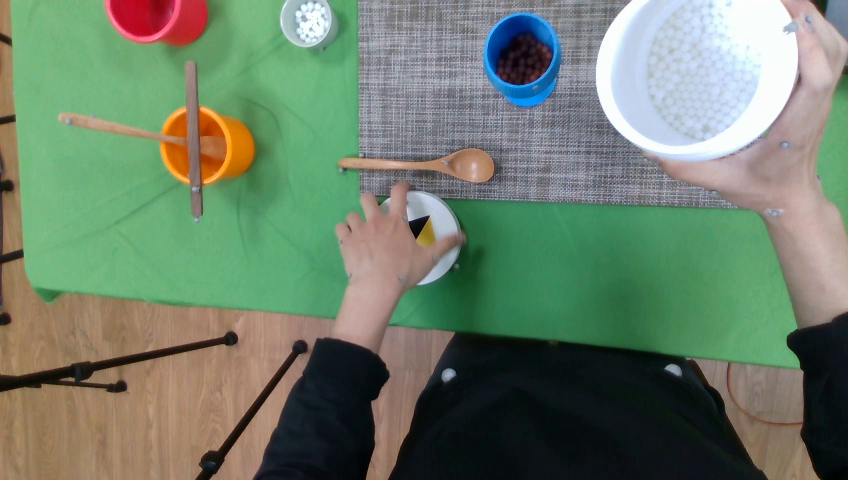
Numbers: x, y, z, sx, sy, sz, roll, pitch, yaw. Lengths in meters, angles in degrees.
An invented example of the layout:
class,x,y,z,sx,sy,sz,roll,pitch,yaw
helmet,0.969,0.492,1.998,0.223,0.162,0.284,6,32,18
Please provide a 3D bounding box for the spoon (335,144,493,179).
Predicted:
class,x,y,z,sx,sy,sz,roll,pitch,yaw
spoon,-0.015,-0.093,0.712,0.193,0.021,0.042,2,120,11

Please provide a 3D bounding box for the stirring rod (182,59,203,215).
class,x,y,z,sx,sy,sz,roll,pitch,yaw
stirring rod,-0.265,-0.116,0.692,0.014,0.006,0.176,2,100,12

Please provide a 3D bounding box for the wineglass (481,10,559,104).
class,x,y,z,sx,sy,sz,roll,pitch,yaw
wineglass,0.097,-0.175,0.600,0.073,0.172,0.074,2,98,11

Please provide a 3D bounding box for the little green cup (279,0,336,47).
class,x,y,z,sx,sy,sz,roll,pitch,yaw
little green cup,-0.133,-0.255,0.705,0.061,0.038,0.061,2,99,12

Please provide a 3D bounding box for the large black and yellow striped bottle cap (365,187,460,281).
class,x,y,z,sx,sy,sz,roll,pitch,yaw
large black and yellow striped bottle cap,-0.014,-0.006,0.732,0.115,0.019,0.115,2,103,10

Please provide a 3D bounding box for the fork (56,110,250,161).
class,x,y,z,sx,sy,sz,roll,pitch,yaw
fork,-0.306,-0.121,0.702,0.209,0.018,0.028,8,110,-34

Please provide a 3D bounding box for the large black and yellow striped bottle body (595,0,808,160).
class,x,y,z,sx,sy,sz,roll,pitch,yaw
large black and yellow striped bottle body,0.212,-0.133,0.461,0.130,0.184,0.131,11,111,32
